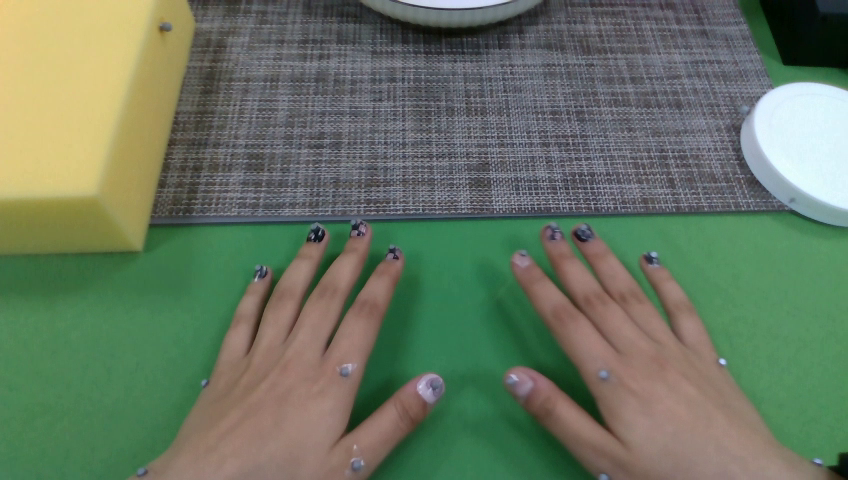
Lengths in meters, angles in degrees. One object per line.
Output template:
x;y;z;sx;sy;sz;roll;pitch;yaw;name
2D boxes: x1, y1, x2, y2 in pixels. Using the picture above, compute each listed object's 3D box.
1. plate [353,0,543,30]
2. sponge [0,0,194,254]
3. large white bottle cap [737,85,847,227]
0.016;-0.241;0.501;0.209;0.038;0.207;1;59;-2;plate
-0.232;-0.093;0.391;0.118;0.061;0.205;-3;58;-1;sponge
0.275;-0.060;0.415;0.115;0.018;0.114;2;59;-3;large white bottle cap
